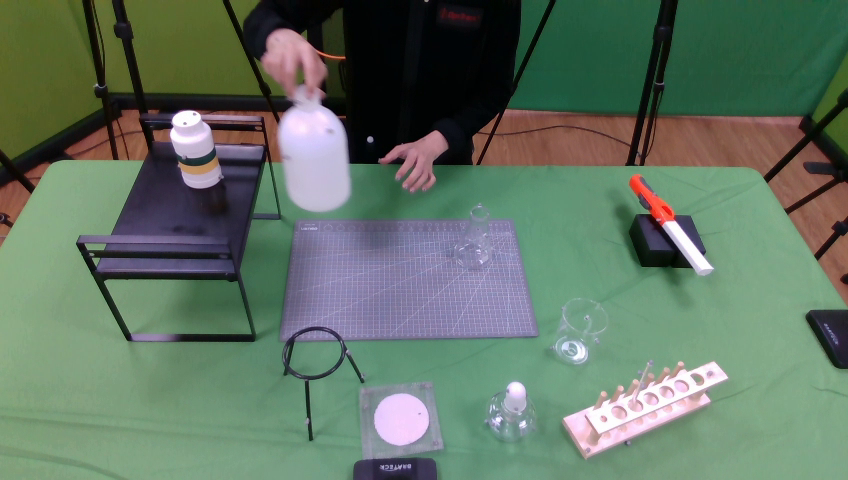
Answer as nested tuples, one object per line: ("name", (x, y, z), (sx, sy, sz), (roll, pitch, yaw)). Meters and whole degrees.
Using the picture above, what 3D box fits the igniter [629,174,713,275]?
("igniter", (0.481, -0.040, 1.202), (0.057, 0.025, 0.274), (-2, 46, -21))

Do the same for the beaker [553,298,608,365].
("beaker", (0.260, 0.154, 1.015), (0.073, 0.101, 0.084), (37, 54, 27))

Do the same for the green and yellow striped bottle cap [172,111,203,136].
("green and yellow striped bottle cap", (-0.374, -0.185, 0.957), (0.045, 0.020, 0.045), (4, 45, -4))

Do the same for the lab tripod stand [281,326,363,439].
("lab tripod stand", (-0.166, 0.203, 0.913), (0.148, 0.132, 0.147), (1, 47, -1))

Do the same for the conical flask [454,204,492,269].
("conical flask", (0.097, -0.009, 1.140), (0.075, 0.122, 0.075), (2, 46, -2))

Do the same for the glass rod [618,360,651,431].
("glass rod", (0.298, 0.227, 0.865), (0.008, 0.201, 0.008), (-1, 47, 2))

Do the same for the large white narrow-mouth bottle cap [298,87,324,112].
("large white narrow-mouth bottle cap", (-0.165, -0.206, 0.887), (0.038, 0.024, 0.037), (2, 43, -2))

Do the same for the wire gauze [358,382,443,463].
("wire gauze", (-0.039, 0.276, 0.937), (0.121, 0.011, 0.124), (-4, 47, -7))

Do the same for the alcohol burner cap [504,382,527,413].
("alcohol burner cap", (0.133, 0.225, 0.877), (0.034, 0.048, 0.033), (-4, 47, 4))

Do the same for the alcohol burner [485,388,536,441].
("alcohol burner", (0.131, 0.249, 0.904), (0.078, 0.120, 0.077), (1, 48, -1))

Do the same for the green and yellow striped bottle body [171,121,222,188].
("green and yellow striped bottle body", (-0.375, -0.149, 0.995), (0.063, 0.120, 0.063), (2, 46, -2))

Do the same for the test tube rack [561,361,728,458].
("test tube rack", (0.341, 0.248, 0.940), (0.243, 0.085, 0.066), (-16, 49, -18))

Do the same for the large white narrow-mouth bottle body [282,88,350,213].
("large white narrow-mouth bottle body", (-0.169, -0.144, 0.947), (0.102, 0.195, 0.101), (2, 43, -2))
